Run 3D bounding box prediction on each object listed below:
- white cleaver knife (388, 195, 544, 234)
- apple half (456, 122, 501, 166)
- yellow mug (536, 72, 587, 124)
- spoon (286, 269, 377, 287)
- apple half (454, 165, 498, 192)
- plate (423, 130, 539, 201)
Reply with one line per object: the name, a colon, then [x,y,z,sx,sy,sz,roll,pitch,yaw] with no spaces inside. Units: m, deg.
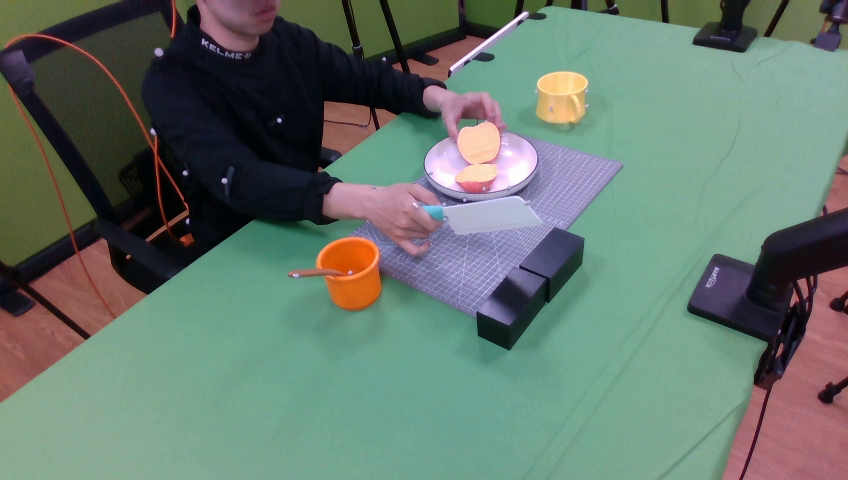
white cleaver knife: [0.047,-0.029,0.873,0.284,0.066,0.021,-2,44,48]
apple half: [0.103,-0.172,1.102,0.080,0.053,0.074,-17,81,9]
yellow mug: [0.285,-0.281,1.222,0.100,0.064,0.130,-16,42,-9]
spoon: [-0.125,0.049,0.831,0.041,0.195,0.021,22,93,28]
apple half: [0.094,-0.103,1.051,0.081,0.033,0.081,-9,27,5]
plate: [0.103,-0.132,1.092,0.209,0.038,0.208,-4,40,4]
